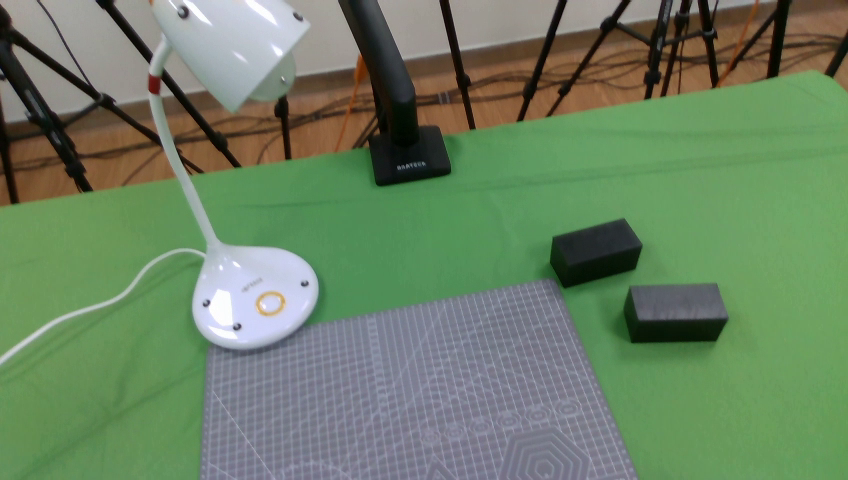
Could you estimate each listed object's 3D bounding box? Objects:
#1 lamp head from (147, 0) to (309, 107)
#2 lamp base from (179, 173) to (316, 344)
[{"bbox_3d":[-0.184,-0.195,0.539,0.124,0.112,0.111,37,51,-18],"label":"lamp head"},{"bbox_3d":[-0.236,0.011,0.739,0.178,0.182,0.160,25,55,28],"label":"lamp base"}]
